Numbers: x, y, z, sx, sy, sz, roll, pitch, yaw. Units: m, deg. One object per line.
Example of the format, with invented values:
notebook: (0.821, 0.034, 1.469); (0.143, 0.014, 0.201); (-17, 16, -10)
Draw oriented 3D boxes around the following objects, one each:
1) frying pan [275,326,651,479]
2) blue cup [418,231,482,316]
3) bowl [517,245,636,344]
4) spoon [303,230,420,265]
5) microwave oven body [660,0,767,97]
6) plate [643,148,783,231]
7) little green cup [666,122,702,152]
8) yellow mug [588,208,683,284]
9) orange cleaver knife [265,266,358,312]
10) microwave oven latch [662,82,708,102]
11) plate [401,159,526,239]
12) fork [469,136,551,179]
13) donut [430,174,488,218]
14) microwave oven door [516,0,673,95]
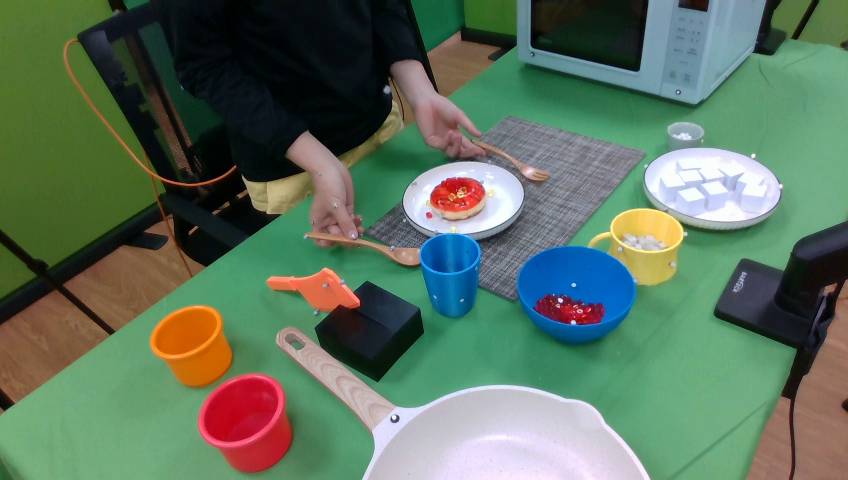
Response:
frying pan: (0.003, 0.229, 0.641); (0.484, 0.103, 0.308); (34, 54, 28)
blue cup: (0.040, 0.053, 0.843); (0.092, 0.100, 0.092); (-4, 43, 4)
bowl: (0.200, 0.084, 0.803); (0.151, 0.077, 0.150); (-4, 40, 4)
spoon: (-0.091, 0.006, 0.935); (0.194, 0.021, 0.041); (15, 44, -6)
microwave oven body: (0.473, -0.516, 1.313); (0.438, 0.261, 0.327); (26, 51, 34)
plate: (0.464, -0.080, 0.986); (0.207, 0.039, 0.206); (-4, 41, 4)
little green cup: (0.471, -0.184, 1.102); (0.061, 0.039, 0.061); (-5, 41, 5)
yellow mug: (0.305, 0.009, 0.884); (0.131, 0.064, 0.099); (-4, 40, 5)
orange cleaver knife: (-0.164, 0.073, 0.864); (0.210, 0.077, 0.012); (-6, 31, 50)
microwave oven latch: (0.518, -0.298, 1.202); (0.078, 0.029, 0.030); (28, 53, 35)
plate: (0.067, -0.065, 1.019); (0.209, 0.038, 0.208); (-4, 40, 4)
fork: (0.154, -0.156, 1.126); (0.028, 0.019, 0.205); (-39, 51, -17)
donut: (0.058, -0.076, 1.015); (0.099, 0.048, 0.098); (-6, 37, 5)
microwave oven door: (0.344, -0.458, 1.256); (0.353, 0.245, 0.039); (26, 51, 33)
